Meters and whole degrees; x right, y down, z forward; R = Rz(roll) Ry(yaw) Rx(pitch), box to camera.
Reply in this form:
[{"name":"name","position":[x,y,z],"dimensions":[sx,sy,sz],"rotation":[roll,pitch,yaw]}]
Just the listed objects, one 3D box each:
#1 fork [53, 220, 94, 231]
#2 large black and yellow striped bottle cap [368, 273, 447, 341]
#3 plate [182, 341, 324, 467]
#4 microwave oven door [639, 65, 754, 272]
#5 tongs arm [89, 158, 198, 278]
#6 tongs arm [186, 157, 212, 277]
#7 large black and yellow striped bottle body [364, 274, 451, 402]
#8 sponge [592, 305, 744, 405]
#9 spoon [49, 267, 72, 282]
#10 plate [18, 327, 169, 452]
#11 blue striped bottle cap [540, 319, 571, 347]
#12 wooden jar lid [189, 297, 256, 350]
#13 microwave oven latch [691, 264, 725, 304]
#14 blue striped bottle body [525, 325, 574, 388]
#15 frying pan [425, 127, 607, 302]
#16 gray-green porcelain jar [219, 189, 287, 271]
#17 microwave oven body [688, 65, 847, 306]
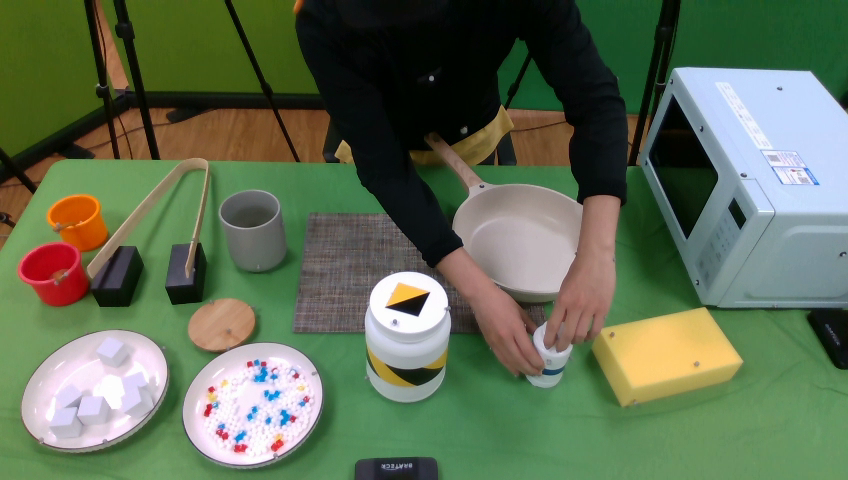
[{"name":"fork","position":[-0.627,-0.027,1.086],"dimensions":[0.028,0.018,0.207],"rotation":[-1,2,-15]},{"name":"large black and yellow striped bottle cap","position":[-0.023,0.094,0.875],"dimensions":[0.115,0.019,0.114],"rotation":[2,45,-2]},{"name":"plate","position":[-0.257,0.250,0.927],"dimensions":[0.209,0.038,0.208],"rotation":[3,46,-2]},{"name":"microwave oven door","position":[0.522,-0.147,1.192],"dimensions":[0.039,0.245,0.353],"rotation":[0,47,-3]},{"name":"tongs arm","position":[-0.530,-0.058,1.164],"dimensions":[0.028,0.028,0.385],"rotation":[1,36,8]},{"name":"tongs arm","position":[-0.445,-0.058,1.168],"dimensions":[0.051,0.026,0.382],"rotation":[-5,37,-6]},{"name":"large black and yellow striped bottle body","position":[-0.026,0.151,0.937],"dimensions":[0.131,0.185,0.130],"rotation":[2,47,-2]},{"name":"sponge","position":[0.405,0.190,1.015],"dimensions":[0.207,0.061,0.117],"rotation":[-10,48,-13]},{"name":"spoon","position":[-0.608,0.058,1.011],"dimensions":[0.041,0.022,0.193],"rotation":[-31,12,-27]},{"name":"plate","position":[-0.498,0.229,0.929],"dimensions":[0.208,0.039,0.206],"rotation":[3,46,-2]},{"name":"blue striped bottle cap","position":[0.203,0.143,0.933],"dimensions":[0.044,0.021,0.044],"rotation":[1,48,-1]},{"name":"wooden jar lid","position":[-0.342,0.145,1.033],"dimensions":[0.108,0.021,0.107],"rotation":[3,45,-2]},{"name":"microwave oven latch","position":[0.521,0.081,1.116],"dimensions":[0.030,0.029,0.078],"rotation":[0,46,-3]},{"name":"blue striped bottle body","position":[0.201,0.179,0.969],"dimensions":[0.063,0.121,0.062],"rotation":[2,46,-2]},{"name":"frying pan","position":[0.143,-0.070,1.209],"dimensions":[0.307,0.103,0.485],"rotation":[-22,60,-24]},{"name":"gray-green porcelain jar","position":[-0.310,-0.014,1.114],"dimensions":[0.106,0.127,0.105],"rotation":[2,46,-2]},{"name":"microwave oven body","position":[0.669,-0.111,1.176],"dimensions":[0.326,0.261,0.439],"rotation":[0,46,-3]}]
